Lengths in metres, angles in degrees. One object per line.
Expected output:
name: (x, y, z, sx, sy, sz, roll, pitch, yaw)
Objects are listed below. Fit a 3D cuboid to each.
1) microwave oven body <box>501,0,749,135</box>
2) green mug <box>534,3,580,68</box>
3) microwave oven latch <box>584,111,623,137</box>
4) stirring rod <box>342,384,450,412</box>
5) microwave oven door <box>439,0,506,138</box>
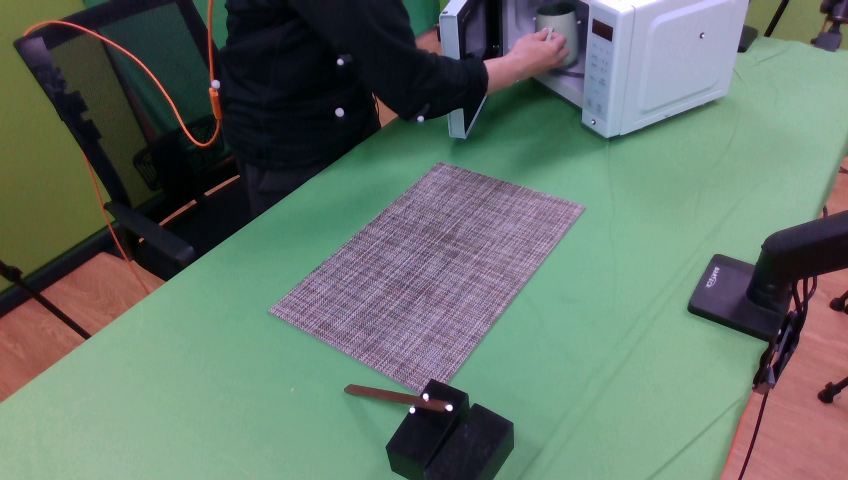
microwave oven body: (0.382, -0.444, 1.246, 0.327, 0.261, 0.437, -22, 42, -16)
green mug: (0.261, -0.401, 1.209, 0.092, 0.105, 0.125, 9, 44, 22)
microwave oven latch: (0.337, -0.222, 1.142, 0.030, 0.029, 0.078, -21, 42, -14)
stirring rod: (-0.038, 0.185, 0.714, 0.175, 0.006, 0.014, -3, 22, 43)
microwave oven door: (0.108, -0.406, 1.231, 0.039, 0.245, 0.355, 7, 43, 18)
